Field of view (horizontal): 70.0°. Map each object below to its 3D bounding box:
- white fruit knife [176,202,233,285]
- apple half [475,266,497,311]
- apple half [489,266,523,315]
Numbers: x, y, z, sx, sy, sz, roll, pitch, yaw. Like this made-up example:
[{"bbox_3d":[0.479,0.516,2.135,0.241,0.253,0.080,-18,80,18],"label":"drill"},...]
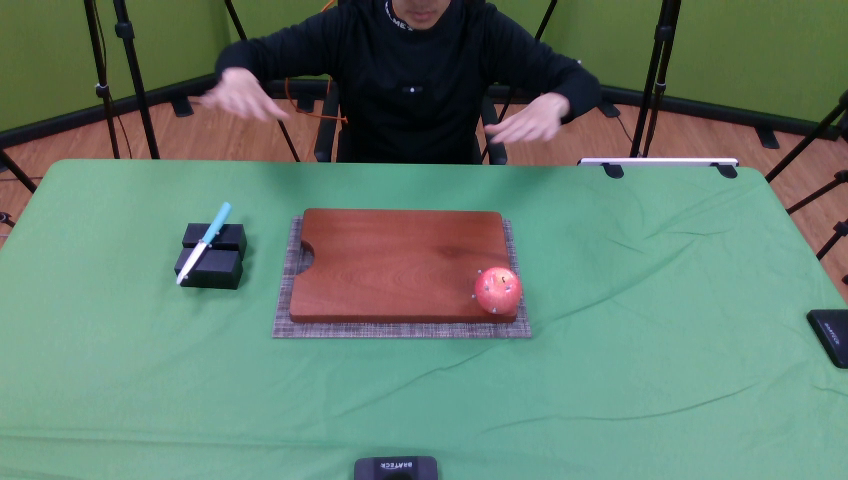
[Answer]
[{"bbox_3d":[-0.397,0.003,1.102,0.027,0.016,0.206,-6,45,24],"label":"white fruit knife"},{"bbox_3d":[0.104,0.085,1.044,0.033,0.081,0.081,9,46,1],"label":"apple half"},{"bbox_3d":[0.142,0.091,1.043,0.053,0.075,0.080,10,44,1],"label":"apple half"}]
